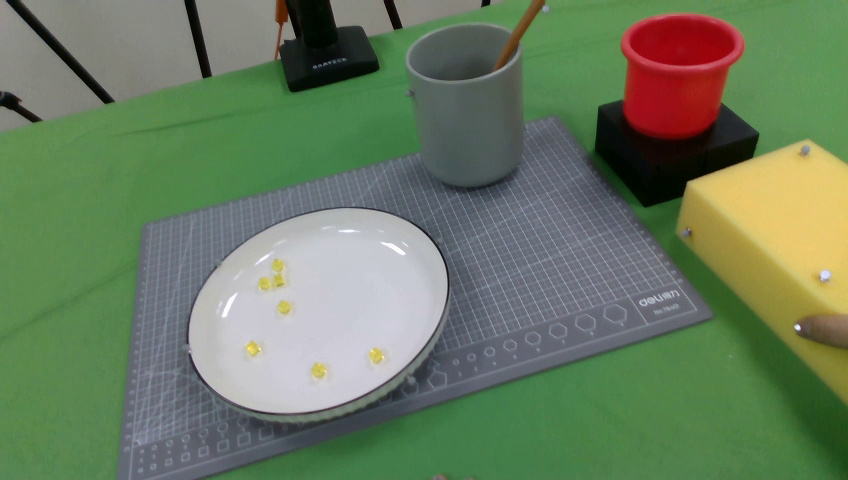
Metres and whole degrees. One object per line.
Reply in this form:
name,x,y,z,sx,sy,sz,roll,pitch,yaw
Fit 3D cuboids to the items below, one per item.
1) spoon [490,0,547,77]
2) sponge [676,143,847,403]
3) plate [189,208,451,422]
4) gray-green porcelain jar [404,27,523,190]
spoon,0.067,-0.147,0.548,0.022,0.195,0.041,16,38,-13
sponge,0.302,0.021,0.442,0.118,0.061,0.204,-21,45,-10
plate,-0.080,0.056,0.489,0.207,0.039,0.205,-5,45,6
gray-green porcelain jar,0.042,-0.120,0.578,0.106,0.128,0.105,-5,45,6
